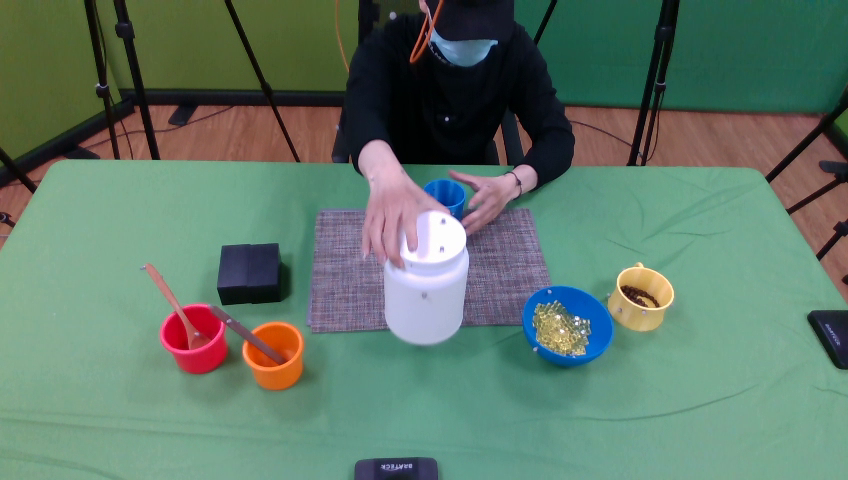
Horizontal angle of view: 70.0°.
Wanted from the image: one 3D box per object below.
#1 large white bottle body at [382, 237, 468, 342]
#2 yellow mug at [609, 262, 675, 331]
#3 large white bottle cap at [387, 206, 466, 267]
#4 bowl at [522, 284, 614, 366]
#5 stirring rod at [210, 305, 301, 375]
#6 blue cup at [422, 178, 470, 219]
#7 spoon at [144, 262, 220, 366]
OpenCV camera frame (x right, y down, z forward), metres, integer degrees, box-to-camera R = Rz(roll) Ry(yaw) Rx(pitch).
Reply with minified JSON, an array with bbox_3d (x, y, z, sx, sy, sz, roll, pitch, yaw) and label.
[{"bbox_3d":[0.001,0.054,0.936,0.130,0.185,0.130,1,43,-1],"label":"large white bottle body"},{"bbox_3d":[0.393,0.094,1.103,0.100,0.064,0.130,7,45,3],"label":"yellow mug"},{"bbox_3d":[0.003,-0.007,0.877,0.115,0.018,0.114,1,44,-1],"label":"large white bottle cap"},{"bbox_3d":[0.235,0.158,1.022,0.151,0.077,0.150,2,46,-2],"label":"bowl"},{"bbox_3d":[-0.262,0.158,0.946,0.177,0.006,0.014,43,43,-21],"label":"stirring rod"},{"bbox_3d":[0.035,-0.057,1.192,0.093,0.101,0.092,3,46,-3],"label":"blue cup"},{"bbox_3d":[-0.389,0.118,0.971,0.041,0.021,0.194,-34,101,-33],"label":"spoon"}]
